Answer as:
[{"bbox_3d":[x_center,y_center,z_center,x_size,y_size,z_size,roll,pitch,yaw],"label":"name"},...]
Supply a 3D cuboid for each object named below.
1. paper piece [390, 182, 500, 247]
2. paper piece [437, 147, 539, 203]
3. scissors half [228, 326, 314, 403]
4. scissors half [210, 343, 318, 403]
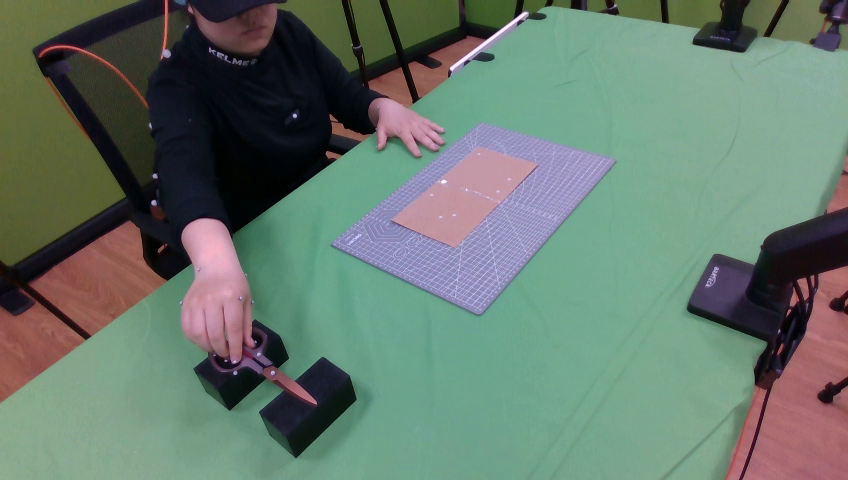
[{"bbox_3d":[0.037,-0.048,1.027,0.134,0.004,0.136,24,48,30],"label":"paper piece"},{"bbox_3d":[0.117,-0.122,1.104,0.135,0.009,0.138,25,49,29],"label":"paper piece"},{"bbox_3d":[-0.185,0.152,0.747,0.173,0.013,0.040,30,61,36],"label":"scissors half"},{"bbox_3d":[-0.197,0.165,0.736,0.174,0.013,0.040,14,47,26],"label":"scissors half"}]
